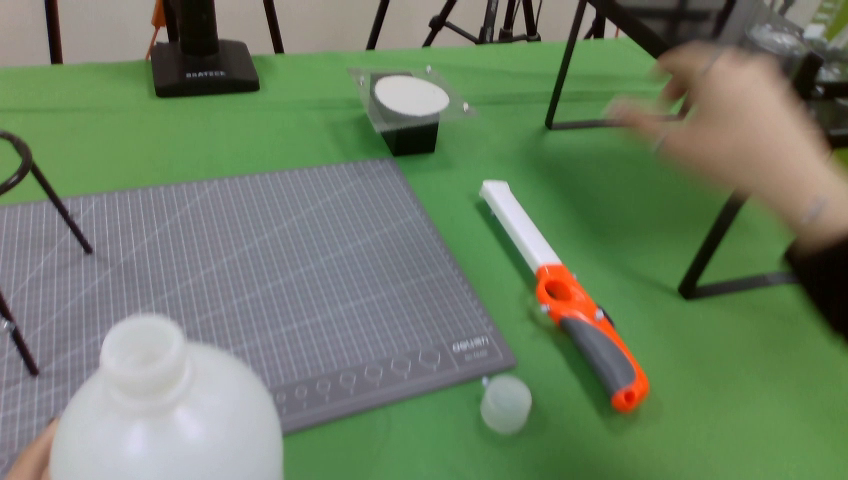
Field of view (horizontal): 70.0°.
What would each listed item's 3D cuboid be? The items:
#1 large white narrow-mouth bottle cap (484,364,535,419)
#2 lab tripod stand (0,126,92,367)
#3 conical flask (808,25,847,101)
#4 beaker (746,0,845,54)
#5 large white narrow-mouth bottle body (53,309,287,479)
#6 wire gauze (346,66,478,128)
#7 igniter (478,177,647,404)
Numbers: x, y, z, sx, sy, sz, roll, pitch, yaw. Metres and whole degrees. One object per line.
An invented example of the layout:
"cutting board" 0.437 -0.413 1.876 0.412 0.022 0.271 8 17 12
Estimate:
"large white narrow-mouth bottle cap" 0.065 0.114 0.457 0.038 0.024 0.037 5 42 -4
"lab tripod stand" -0.304 -0.001 0.423 0.149 0.132 0.147 7 42 -6
"conical flask" 0.380 -0.177 0.492 0.075 0.123 0.074 5 42 -4
"beaker" 0.355 -0.234 0.567 0.084 0.101 0.073 -13 46 -22
"large white narrow-mouth bottle body" -0.119 0.108 0.298 0.102 0.196 0.101 5 42 -4
"wire gauze" -0.017 -0.168 0.687 0.122 0.011 0.123 -9 46 -22
"igniter" 0.118 0.031 0.552 0.057 0.025 0.273 0 42 -27
